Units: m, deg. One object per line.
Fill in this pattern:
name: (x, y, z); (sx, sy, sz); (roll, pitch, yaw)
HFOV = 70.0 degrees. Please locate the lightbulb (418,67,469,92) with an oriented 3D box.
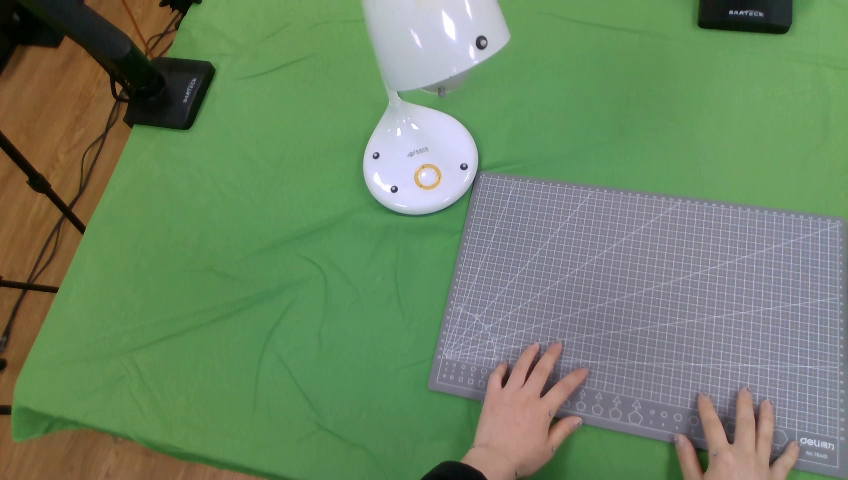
lightbulb: (0.003, -0.175, 0.496); (0.059, 0.108, 0.059); (-14, 27, 8)

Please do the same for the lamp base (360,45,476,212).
lamp base: (-0.027, -0.151, 0.764); (0.160, 0.182, 0.177); (-29, 63, -4)

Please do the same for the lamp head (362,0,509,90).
lamp head: (-0.004, -0.199, 0.489); (0.112, 0.124, 0.111); (-23, 22, 10)
